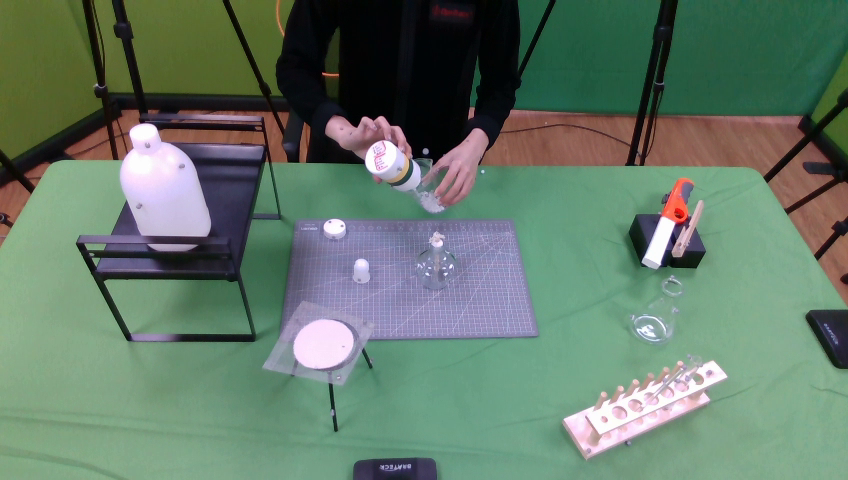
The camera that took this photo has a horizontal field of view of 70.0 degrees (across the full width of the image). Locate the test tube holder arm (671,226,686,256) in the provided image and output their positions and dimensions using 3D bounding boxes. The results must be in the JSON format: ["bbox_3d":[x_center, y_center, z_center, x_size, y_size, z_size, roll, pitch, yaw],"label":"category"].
[{"bbox_3d":[0.494,0.001,1.167,0.010,0.015,0.087,1,36,42],"label":"test tube holder arm"}]

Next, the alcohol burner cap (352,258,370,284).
[{"bbox_3d":[-0.117,0.055,1.118,0.034,0.048,0.033,2,46,-1],"label":"alcohol burner cap"}]

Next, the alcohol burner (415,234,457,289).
[{"bbox_3d":[0.022,0.033,1.099,0.078,0.120,0.077,1,47,-1],"label":"alcohol burner"}]

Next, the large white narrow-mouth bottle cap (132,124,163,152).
[{"bbox_3d":[-0.371,-0.137,0.812,0.038,0.024,0.037,3,46,-3],"label":"large white narrow-mouth bottle cap"}]

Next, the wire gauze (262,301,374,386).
[{"bbox_3d":[-0.150,0.148,0.873,0.121,0.011,0.124,14,46,12],"label":"wire gauze"}]

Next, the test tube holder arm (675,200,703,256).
[{"bbox_3d":[0.523,-0.025,1.190,0.013,0.015,0.178,1,36,42],"label":"test tube holder arm"}]

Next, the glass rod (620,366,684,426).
[{"bbox_3d":[0.322,0.227,0.866,0.008,0.200,0.008,5,51,-7],"label":"glass rod"}]

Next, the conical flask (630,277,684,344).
[{"bbox_3d":[0.408,0.117,1.045,0.075,0.122,0.075,2,46,-2],"label":"conical flask"}]

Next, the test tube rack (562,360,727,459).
[{"bbox_3d":[0.341,0.247,0.940,0.243,0.085,0.066,-16,49,-18],"label":"test tube rack"}]

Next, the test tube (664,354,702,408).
[{"bbox_3d":[0.385,0.215,0.906,0.017,0.151,0.017,-1,49,1],"label":"test tube"}]

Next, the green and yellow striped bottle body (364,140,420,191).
[{"bbox_3d":[-0.051,-0.129,1.088,0.063,0.120,0.063,-8,72,25],"label":"green and yellow striped bottle body"}]

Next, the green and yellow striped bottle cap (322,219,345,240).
[{"bbox_3d":[-0.180,-0.022,1.206,0.045,0.020,0.045,2,45,-2],"label":"green and yellow striped bottle cap"}]

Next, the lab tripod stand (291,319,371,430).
[{"bbox_3d":[-0.146,0.193,0.923,0.148,0.132,0.147,1,47,-1],"label":"lab tripod stand"}]

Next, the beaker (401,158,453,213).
[{"bbox_3d":[0.007,-0.103,1.166,0.084,0.101,0.073,-47,50,3],"label":"beaker"}]

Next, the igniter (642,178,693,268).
[{"bbox_3d":[0.488,-0.042,1.205,0.057,0.025,0.276,30,51,11],"label":"igniter"}]

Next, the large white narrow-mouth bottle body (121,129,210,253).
[{"bbox_3d":[-0.378,-0.077,0.875,0.102,0.195,0.101,3,46,-3],"label":"large white narrow-mouth bottle body"}]
